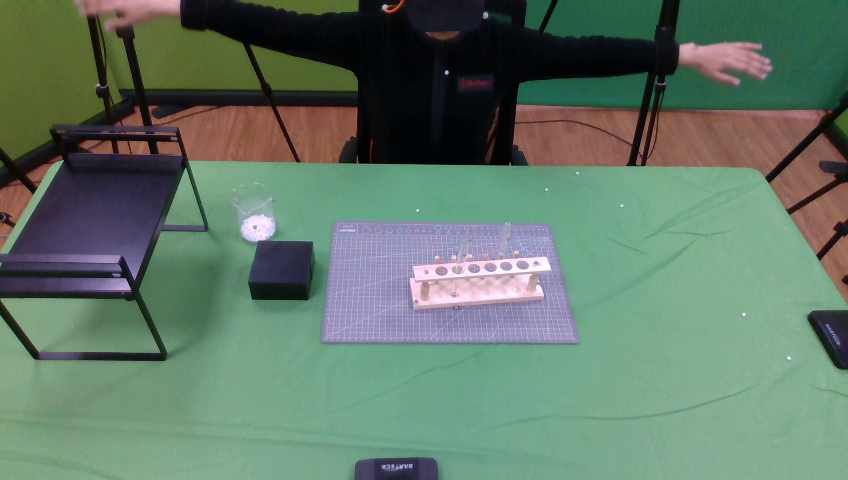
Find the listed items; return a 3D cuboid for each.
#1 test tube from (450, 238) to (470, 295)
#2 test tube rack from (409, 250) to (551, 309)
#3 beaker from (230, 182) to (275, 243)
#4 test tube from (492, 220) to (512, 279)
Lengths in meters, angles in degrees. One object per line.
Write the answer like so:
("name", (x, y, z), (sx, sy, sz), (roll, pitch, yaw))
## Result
("test tube", (0.060, 0.048, 1.040), (0.017, 0.151, 0.017), (3, 51, -4))
("test tube rack", (0.098, 0.065, 1.096), (0.243, 0.085, 0.066), (-4, 47, -8))
("beaker", (-0.328, -0.049, 1.166), (0.074, 0.101, 0.083), (2, 47, -2))
("test tube", (0.138, 0.019, 1.082), (0.017, 0.151, 0.017), (2, 47, -2))
